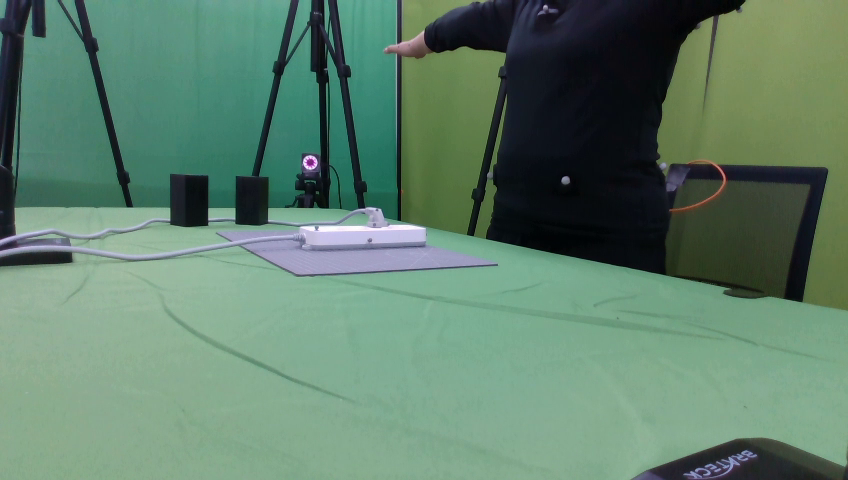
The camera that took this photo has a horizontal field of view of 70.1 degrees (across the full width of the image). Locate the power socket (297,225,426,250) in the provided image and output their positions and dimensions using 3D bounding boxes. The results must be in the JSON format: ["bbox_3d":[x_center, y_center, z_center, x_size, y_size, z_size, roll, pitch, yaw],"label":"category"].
[{"bbox_3d":[-0.099,-0.006,0.992,0.228,0.032,0.072,-2,8,-31],"label":"power socket"}]

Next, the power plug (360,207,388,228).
[{"bbox_3d":[-0.085,-0.029,1.032,0.035,0.052,0.072,1,5,-20],"label":"power plug"}]
